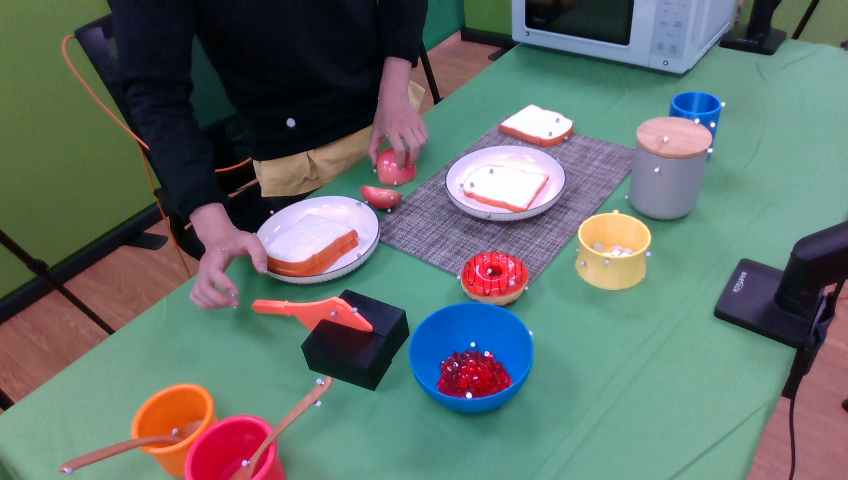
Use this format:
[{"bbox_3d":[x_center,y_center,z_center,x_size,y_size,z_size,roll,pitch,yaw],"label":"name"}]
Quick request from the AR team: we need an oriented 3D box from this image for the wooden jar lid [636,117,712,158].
[{"bbox_3d":[0.377,-0.151,0.917,0.108,0.021,0.108,-2,41,3],"label":"wooden jar lid"}]

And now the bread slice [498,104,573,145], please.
[{"bbox_3d":[0.231,-0.231,1.205,0.105,0.019,0.130,-36,47,-29],"label":"bread slice"}]

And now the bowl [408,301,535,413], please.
[{"bbox_3d":[0.060,0.156,0.739,0.151,0.077,0.150,-4,40,4],"label":"bowl"}]

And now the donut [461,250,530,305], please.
[{"bbox_3d":[0.103,0.053,0.872,0.099,0.048,0.098,-4,40,4],"label":"donut"}]

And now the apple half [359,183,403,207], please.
[{"bbox_3d":[-0.076,-0.073,1.051,0.081,0.082,0.032,9,83,18],"label":"apple half"}]

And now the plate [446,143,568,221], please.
[{"bbox_3d":[0.142,-0.096,1.045,0.207,0.039,0.206,-4,40,4],"label":"plate"}]

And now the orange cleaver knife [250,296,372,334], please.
[{"bbox_3d":[-0.158,0.103,0.828,0.210,0.078,0.012,-4,43,39],"label":"orange cleaver knife"}]

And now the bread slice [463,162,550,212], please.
[{"bbox_3d":[0.135,-0.094,1.045,0.133,0.018,0.107,15,45,23],"label":"bread slice"}]

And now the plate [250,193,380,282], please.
[{"bbox_3d":[-0.174,-0.001,0.984,0.209,0.038,0.208,-3,40,3],"label":"plate"}]

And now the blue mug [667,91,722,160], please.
[{"bbox_3d":[0.473,-0.207,1.079,0.082,0.106,0.116,4,42,13],"label":"blue mug"}]

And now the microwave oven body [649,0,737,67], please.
[{"bbox_3d":[0.475,-0.602,1.411,0.438,0.261,0.327,23,50,32],"label":"microwave oven body"}]

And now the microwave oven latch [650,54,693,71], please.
[{"bbox_3d":[0.531,-0.386,1.301,0.078,0.029,0.030,26,51,33],"label":"microwave oven latch"}]

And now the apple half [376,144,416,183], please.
[{"bbox_3d":[-0.053,-0.150,1.128,0.075,0.053,0.080,1,39,0],"label":"apple half"}]

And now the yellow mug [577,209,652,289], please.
[{"bbox_3d":[0.279,0.004,0.893,0.099,0.064,0.130,5,41,15],"label":"yellow mug"}]

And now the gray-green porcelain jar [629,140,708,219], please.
[{"bbox_3d":[0.383,-0.105,0.958,0.106,0.127,0.105,-4,41,4],"label":"gray-green porcelain jar"}]

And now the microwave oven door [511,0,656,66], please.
[{"bbox_3d":[0.351,-0.539,1.348,0.353,0.245,0.039,24,50,31],"label":"microwave oven door"}]

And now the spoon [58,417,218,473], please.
[{"bbox_3d":[-0.304,0.221,0.661,0.041,0.195,0.021,19,92,27],"label":"spoon"}]

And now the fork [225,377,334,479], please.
[{"bbox_3d":[-0.163,0.216,0.646,0.207,0.019,0.028,-49,42,16],"label":"fork"}]
